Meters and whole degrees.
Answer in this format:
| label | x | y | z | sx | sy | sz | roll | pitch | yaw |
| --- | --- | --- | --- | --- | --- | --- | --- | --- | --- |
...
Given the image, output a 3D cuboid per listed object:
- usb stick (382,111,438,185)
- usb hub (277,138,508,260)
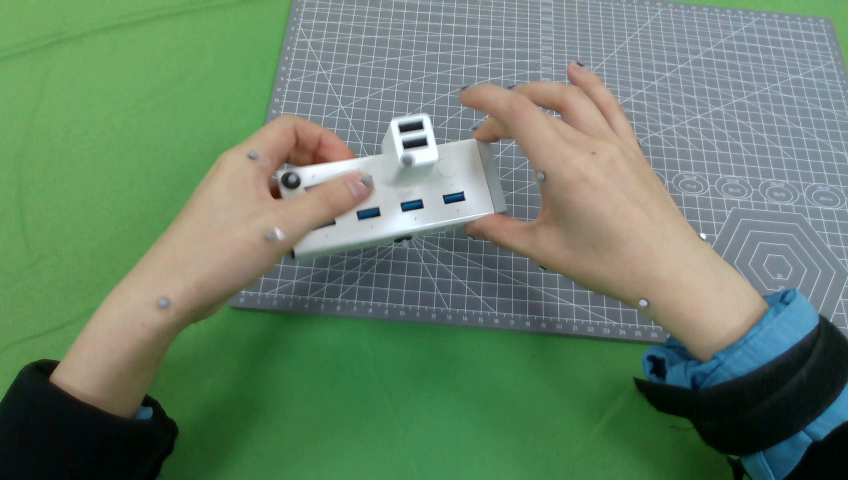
| label | x | y | z | sx | sy | sz | roll | pitch | yaw |
| --- | --- | --- | --- | --- | --- | --- | --- | --- | --- |
| usb stick | -0.009 | -0.046 | 0.323 | 0.021 | 0.059 | 0.027 | -14 | 82 | -10 |
| usb hub | -0.017 | -0.025 | 0.349 | 0.125 | 0.025 | 0.049 | -11 | 82 | -14 |
